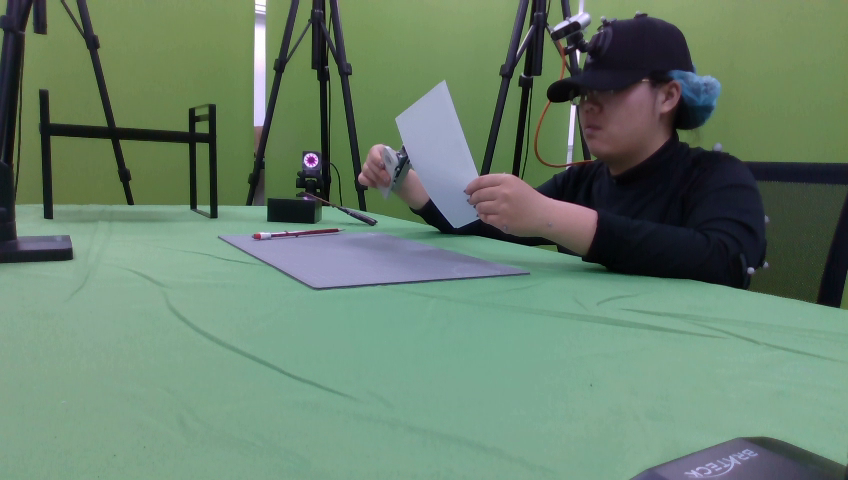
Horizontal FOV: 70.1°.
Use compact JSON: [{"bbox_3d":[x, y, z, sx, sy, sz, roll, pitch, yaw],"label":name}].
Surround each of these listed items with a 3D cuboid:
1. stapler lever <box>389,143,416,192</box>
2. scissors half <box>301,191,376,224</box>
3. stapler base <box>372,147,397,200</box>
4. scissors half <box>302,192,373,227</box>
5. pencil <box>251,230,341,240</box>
[{"bbox_3d":[-0.043,-0.128,1.065,0.040,0.027,0.118,-25,-16,-23],"label":"stapler lever"},{"bbox_3d":[-0.189,-0.073,1.333,0.175,0.013,0.040,22,11,-10],"label":"scissors half"},{"bbox_3d":[-0.063,-0.118,1.053,0.024,0.041,0.130,-25,-16,-23],"label":"stapler base"},{"bbox_3d":[-0.191,-0.069,1.314,0.175,0.013,0.040,26,16,7],"label":"scissors half"},{"bbox_3d":[-0.215,-0.011,1.049,0.012,0.012,0.195,9,9,39],"label":"pencil"}]
